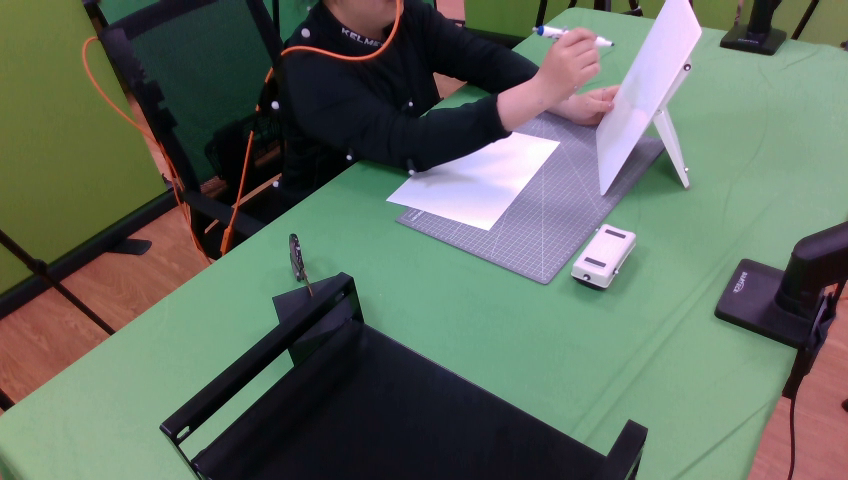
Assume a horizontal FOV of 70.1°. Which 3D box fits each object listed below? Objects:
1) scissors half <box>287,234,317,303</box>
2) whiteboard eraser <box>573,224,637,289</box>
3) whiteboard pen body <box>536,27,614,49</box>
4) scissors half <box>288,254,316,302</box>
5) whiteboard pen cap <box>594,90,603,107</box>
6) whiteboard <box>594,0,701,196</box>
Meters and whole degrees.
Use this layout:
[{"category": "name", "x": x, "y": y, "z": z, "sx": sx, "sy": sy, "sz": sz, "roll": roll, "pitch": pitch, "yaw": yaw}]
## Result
[{"category": "scissors half", "x": -0.179, "y": 0.040, "z": 0.884, "sx": 0.013, "sy": 0.040, "sz": 0.173, "roll": -11, "pitch": 37, "yaw": -20}, {"category": "whiteboard eraser", "x": 0.267, "y": 0.025, "z": 0.891, "sx": 0.055, "sy": 0.042, "sz": 0.113, "roll": 19, "pitch": 47, "yaw": 31}, {"category": "whiteboard pen body", "x": 0.245, "y": -0.322, "z": 0.971, "sx": 0.141, "sy": 0.017, "sz": 0.017, "roll": 4, "pitch": 37, "yaw": -19}, {"category": "scissors half", "x": -0.178, "y": 0.058, "z": 0.894, "sx": 0.013, "sy": 0.040, "sz": 0.174, "roll": -16, "pitch": 21, "yaw": -18}, {"category": "whiteboard pen cap", "x": 0.364, "y": -0.294, "z": 1.261, "sx": 0.018, "sy": 0.033, "sz": 0.018, "roll": -5, "pitch": 41, "yaw": 5}, {"category": "whiteboard", "x": 0.420, "y": -0.227, "z": 1.010, "sx": 0.144, "sy": 0.305, "sz": 0.216, "roll": 18, "pitch": 42, "yaw": -2}]
